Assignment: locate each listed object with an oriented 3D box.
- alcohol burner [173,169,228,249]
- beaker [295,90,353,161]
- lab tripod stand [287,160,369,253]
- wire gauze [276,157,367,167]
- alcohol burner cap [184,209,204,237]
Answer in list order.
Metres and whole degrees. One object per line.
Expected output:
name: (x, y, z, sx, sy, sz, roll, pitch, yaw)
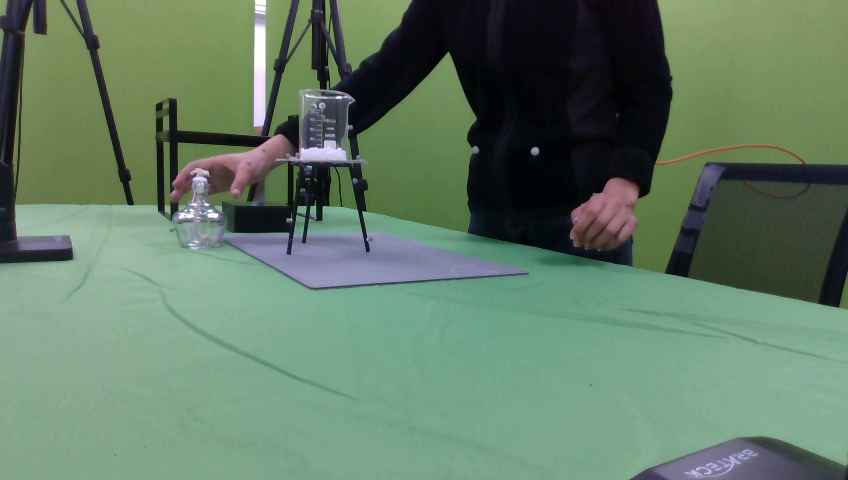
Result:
alcohol burner: (-0.333, -0.047, 0.903, 0.078, 0.119, 0.078, 1, 6, 0)
beaker: (-0.146, -0.164, 0.884, 0.084, 0.100, 0.074, 1, 7, -6)
lab tripod stand: (-0.157, -0.053, 0.901, 0.148, 0.131, 0.148, 0, 7, 0)
wire gauze: (-0.148, -0.117, 0.895, 0.121, 0.011, 0.125, 3, 5, -3)
alcohol burner cap: (-0.390, -0.029, 1.026, 0.034, 0.048, 0.034, 2, 9, 0)
